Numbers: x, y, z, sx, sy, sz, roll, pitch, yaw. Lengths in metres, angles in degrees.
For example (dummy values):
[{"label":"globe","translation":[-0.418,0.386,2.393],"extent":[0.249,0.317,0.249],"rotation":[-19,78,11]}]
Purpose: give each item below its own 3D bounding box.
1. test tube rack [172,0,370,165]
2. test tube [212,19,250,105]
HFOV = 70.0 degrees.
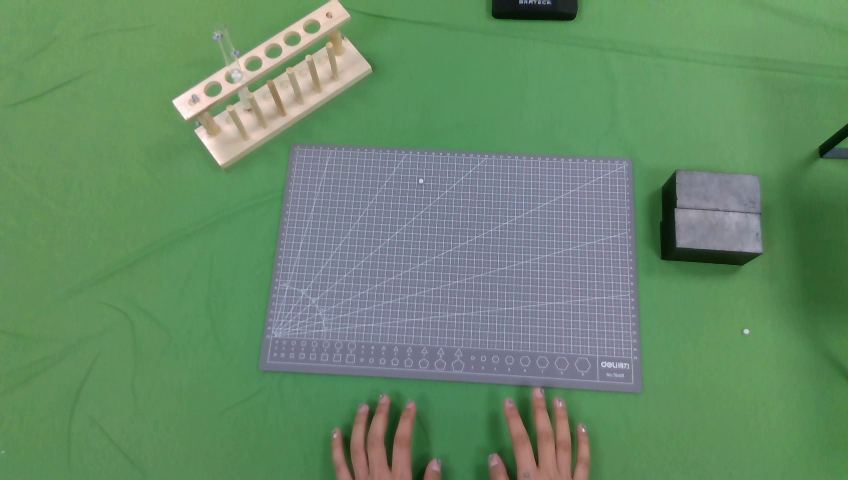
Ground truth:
[{"label":"test tube rack","translation":[-0.191,-0.206,0.786],"extent":[0.242,0.086,0.066],"rotation":[-36,74,-10]},{"label":"test tube","translation":[-0.231,-0.211,0.737],"extent":[0.017,0.151,0.017],"rotation":[1,69,-3]}]
